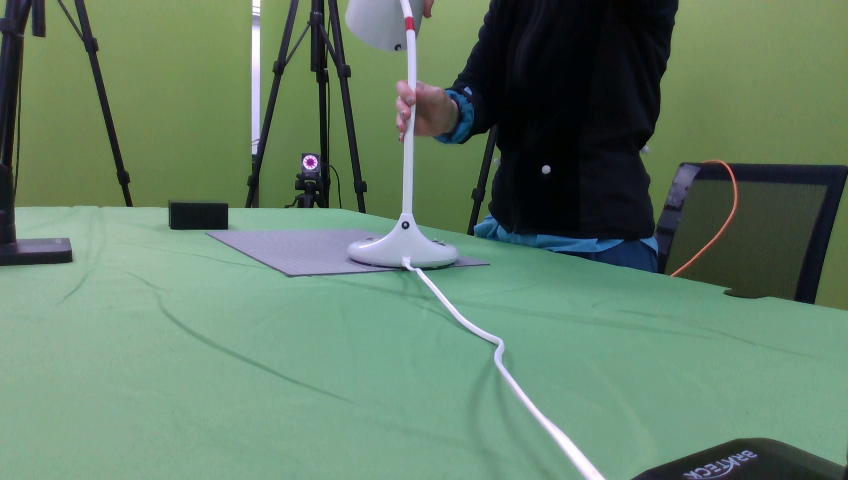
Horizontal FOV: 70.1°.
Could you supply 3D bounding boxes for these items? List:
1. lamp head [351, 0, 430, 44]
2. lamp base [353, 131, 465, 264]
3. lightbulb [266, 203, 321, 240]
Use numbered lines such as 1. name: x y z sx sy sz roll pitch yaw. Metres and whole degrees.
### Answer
1. lamp head: -0.036 -0.354 0.850 0.113 0.112 0.122 -1 -28 -23
2. lamp base: -0.015 -0.062 0.851 0.161 0.180 0.178 -1 10 -20
3. lightbulb: -0.224 -0.026 1.031 0.059 0.059 0.108 8 24 37
